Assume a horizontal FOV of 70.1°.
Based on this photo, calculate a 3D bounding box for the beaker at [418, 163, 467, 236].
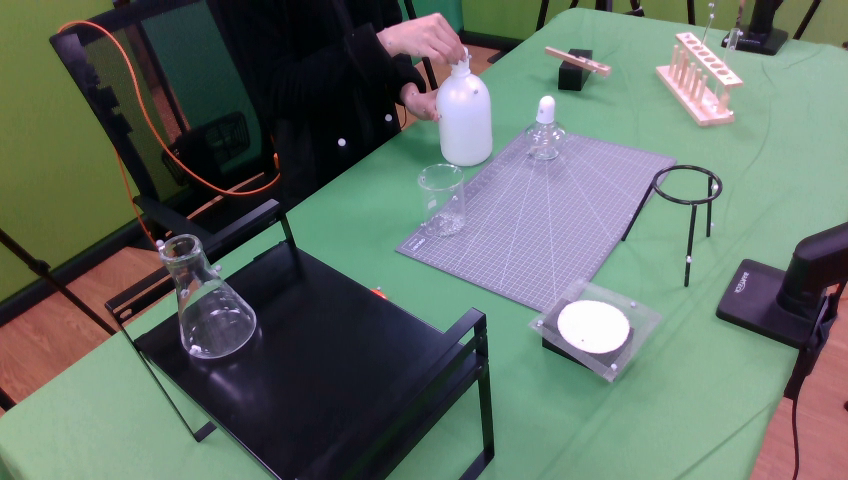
[{"bbox_3d":[0.035,-0.065,0.990,0.073,0.101,0.084,24,49,32],"label":"beaker"}]

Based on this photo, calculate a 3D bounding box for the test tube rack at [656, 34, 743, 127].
[{"bbox_3d":[0.553,-0.330,1.233,0.067,0.085,0.241,-7,40,2],"label":"test tube rack"}]

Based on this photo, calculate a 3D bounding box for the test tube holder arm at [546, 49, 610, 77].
[{"bbox_3d":[0.332,-0.387,1.315,0.013,0.015,0.177,-26,43,-27],"label":"test tube holder arm"}]

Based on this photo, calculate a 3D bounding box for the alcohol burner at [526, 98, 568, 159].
[{"bbox_3d":[0.228,-0.210,1.118,0.078,0.119,0.077,-5,43,5],"label":"alcohol burner"}]

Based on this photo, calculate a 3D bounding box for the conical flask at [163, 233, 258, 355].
[{"bbox_3d":[-0.217,0.051,0.601,0.075,0.122,0.075,-4,40,4],"label":"conical flask"}]

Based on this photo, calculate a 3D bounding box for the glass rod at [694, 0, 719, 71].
[{"bbox_3d":[0.561,-0.401,1.214,0.008,0.200,0.008,-1,48,2],"label":"glass rod"}]

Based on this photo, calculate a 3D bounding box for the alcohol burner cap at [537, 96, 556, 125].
[{"bbox_3d":[0.223,-0.237,1.095,0.034,0.048,0.033,-1,42,1],"label":"alcohol burner cap"}]

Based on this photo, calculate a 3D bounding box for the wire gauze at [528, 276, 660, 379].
[{"bbox_3d":[0.213,0.103,0.763,0.124,0.011,0.122,30,52,35],"label":"wire gauze"}]

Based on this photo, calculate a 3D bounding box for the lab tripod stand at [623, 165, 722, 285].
[{"bbox_3d":[0.365,-0.030,0.874,0.148,0.132,0.147,-6,41,6],"label":"lab tripod stand"}]

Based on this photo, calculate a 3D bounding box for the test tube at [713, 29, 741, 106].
[{"bbox_3d":[0.572,-0.324,1.146,0.017,0.151,0.017,-3,40,3],"label":"test tube"}]

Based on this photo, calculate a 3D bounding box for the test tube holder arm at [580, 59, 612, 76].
[{"bbox_3d":[0.363,-0.369,1.288,0.010,0.015,0.087,-28,43,-28],"label":"test tube holder arm"}]

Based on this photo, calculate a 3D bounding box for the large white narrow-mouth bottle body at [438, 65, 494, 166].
[{"bbox_3d":[0.077,-0.242,1.122,0.102,0.195,0.101,-5,41,4],"label":"large white narrow-mouth bottle body"}]

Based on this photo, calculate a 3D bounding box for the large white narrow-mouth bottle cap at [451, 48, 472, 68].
[{"bbox_3d":[0.066,-0.318,1.054,0.038,0.024,0.037,-4,41,4],"label":"large white narrow-mouth bottle cap"}]

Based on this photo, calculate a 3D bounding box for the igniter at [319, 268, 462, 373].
[{"bbox_3d":[-0.059,0.107,0.862,0.274,0.025,0.057,28,62,34],"label":"igniter"}]
